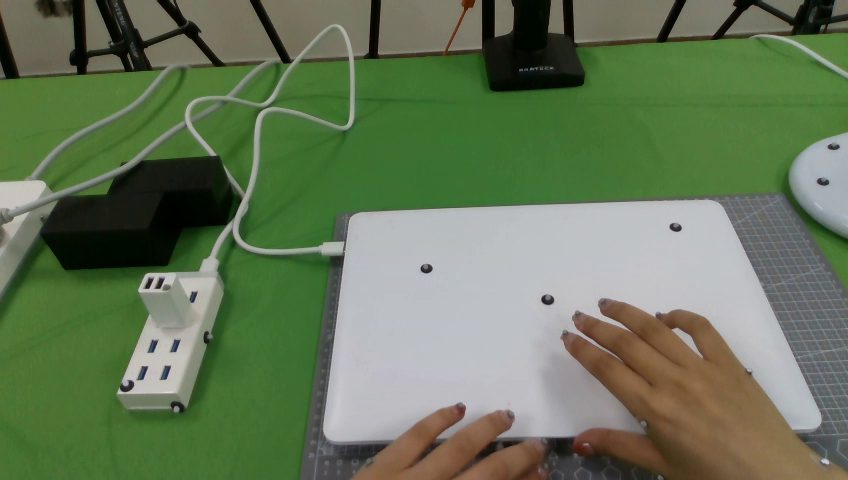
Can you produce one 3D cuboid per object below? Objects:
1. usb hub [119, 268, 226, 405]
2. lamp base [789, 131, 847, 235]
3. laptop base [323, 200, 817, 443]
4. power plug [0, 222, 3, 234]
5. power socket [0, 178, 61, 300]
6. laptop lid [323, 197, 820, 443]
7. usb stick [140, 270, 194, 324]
[{"bbox_3d":[-0.206,0.077,0.505,0.049,0.025,0.124,-2,45,3],"label":"usb hub"},{"bbox_3d":[0.444,-0.111,0.540,0.159,0.182,0.178,21,48,23],"label":"lamp base"},{"bbox_3d":[0.103,0.058,0.509,0.354,0.023,0.233,-2,49,2],"label":"laptop base"},{"bbox_3d":[-0.419,-0.020,0.577,0.035,0.053,0.072,-7,38,-16],"label":"power plug"},{"bbox_3d":[-0.421,0.018,0.570,0.072,0.033,0.224,-1,45,1],"label":"power socket"},{"bbox_3d":[0.103,0.051,0.499,0.356,0.013,0.239,-1,48,3],"label":"laptop lid"},{"bbox_3d":[-0.204,0.051,0.489,0.027,0.060,0.021,-3,45,3],"label":"usb stick"}]
